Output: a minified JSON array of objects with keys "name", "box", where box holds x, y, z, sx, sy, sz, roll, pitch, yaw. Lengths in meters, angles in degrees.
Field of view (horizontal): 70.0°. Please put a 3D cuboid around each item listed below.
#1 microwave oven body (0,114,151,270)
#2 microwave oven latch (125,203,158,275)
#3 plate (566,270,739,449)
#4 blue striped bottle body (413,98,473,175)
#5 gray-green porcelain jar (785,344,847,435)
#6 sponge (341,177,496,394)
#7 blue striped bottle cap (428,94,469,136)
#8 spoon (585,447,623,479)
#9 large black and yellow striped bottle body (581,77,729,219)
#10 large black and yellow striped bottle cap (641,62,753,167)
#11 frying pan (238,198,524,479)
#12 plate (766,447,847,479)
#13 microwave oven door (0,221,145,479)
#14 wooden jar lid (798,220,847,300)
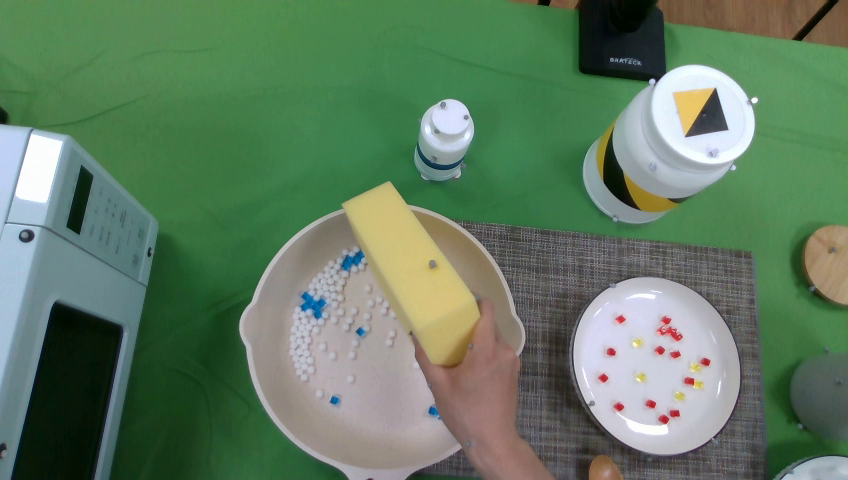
[{"name":"microwave oven body","box":[-0.470,0.128,0.524,0.326,0.261,0.439,6,76,-5]},{"name":"microwave oven latch","box":[-0.319,-0.002,0.674,0.030,0.029,0.079,9,76,-5]},{"name":"plate","box":[0.269,0.140,0.725,0.209,0.038,0.208,2,76,-6]},{"name":"blue striped bottle body","box":[0.022,-0.127,0.723,0.063,0.121,0.062,2,75,-6]},{"name":"gray-green porcelain jar","box":[0.500,0.173,0.703,0.106,0.127,0.105,2,75,-6]},{"name":"sponge","box":[-0.010,0.041,0.629,0.061,0.119,0.204,-27,45,-9]},{"name":"blue striped bottle cap","box":[0.027,-0.139,0.673,0.044,0.021,0.044,2,73,-5]},{"name":"spoon","box":[0.251,0.314,0.689,0.193,0.022,0.041,46,58,4]},{"name":"large black and yellow striped bottle body","box":[0.278,-0.111,0.718,0.131,0.184,0.130,2,75,-6]},{"name":"large black and yellow striped bottle cap","box":[0.286,-0.133,0.635,0.115,0.019,0.114,2,74,-6]},{"name":"frying pan","box":[-0.051,0.193,0.640,0.307,0.103,0.484,4,67,-3]},{"name":"plate","box":[0.475,0.347,0.703,0.208,0.039,0.206,2,76,-6]},{"name":"microwave oven door","box":[-0.329,0.183,0.522,0.039,0.244,0.354,6,75,-5]},{"name":"wooden jar lid","box":[0.543,0.027,0.799,0.108,0.021,0.108,1,77,-6]}]
